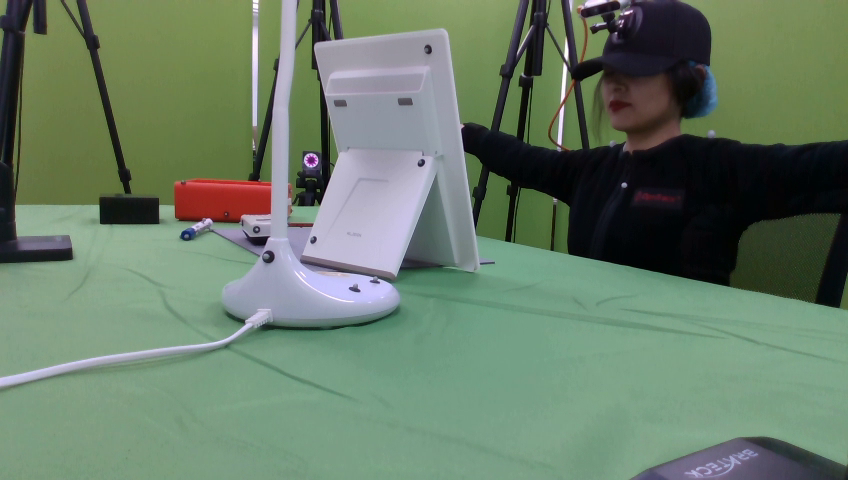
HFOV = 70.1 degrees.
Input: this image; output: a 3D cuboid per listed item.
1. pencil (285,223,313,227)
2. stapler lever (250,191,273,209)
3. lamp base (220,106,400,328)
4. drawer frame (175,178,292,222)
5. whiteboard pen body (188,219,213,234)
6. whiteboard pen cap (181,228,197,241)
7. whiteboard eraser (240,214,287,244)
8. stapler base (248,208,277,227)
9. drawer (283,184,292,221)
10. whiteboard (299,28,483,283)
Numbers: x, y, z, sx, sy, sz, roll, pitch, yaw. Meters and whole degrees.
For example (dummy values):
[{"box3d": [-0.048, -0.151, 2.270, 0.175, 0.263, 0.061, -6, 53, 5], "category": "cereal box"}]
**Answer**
[{"box3d": [-0.234, -0.030, 1.198, 0.195, 0.012, 0.012, 0, 8, -20], "category": "pencil"}, {"box3d": [-0.350, -0.086, 1.305, 0.027, 0.040, 0.118, 1, 5, -4], "category": "stapler lever"}, {"box3d": [-0.101, -0.023, 0.531, 0.160, 0.180, 0.179, 4, 10, 10], "category": "lamp base"}, {"box3d": [-0.402, -0.087, 1.311, 0.214, 0.082, 0.201, 1, 8, -9], "category": "drawer frame"}, {"box3d": [-0.382, -0.020, 1.026, 0.017, 0.017, 0.140, 2, 9, -6], "category": "whiteboard pen body"}, {"box3d": [-0.375, -0.010, 0.968, 0.018, 0.018, 0.033, 2, 10, -6], "category": "whiteboard pen cap"}, {"box3d": [-0.256, -0.018, 0.958, 0.056, 0.042, 0.112, 0, 8, -25], "category": "whiteboard eraser"}, {"box3d": [-0.350, -0.053, 1.310, 0.041, 0.024, 0.130, 1, 13, -4], "category": "stapler base"}, {"box3d": [-0.397, -0.086, 1.314, 0.212, 0.073, 0.194, 1, 8, -9], "category": "drawer"}, {"box3d": [-0.075, -0.082, 0.741, 0.216, 0.305, 0.144, 9, 30, 38], "category": "whiteboard"}]
